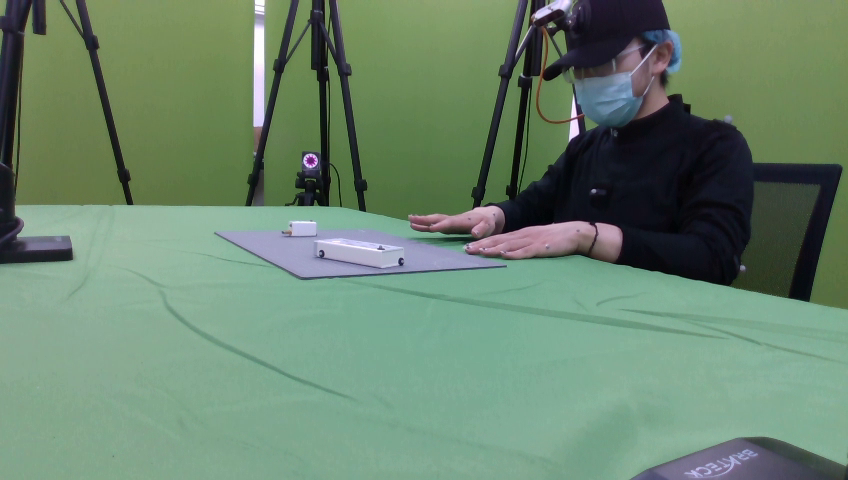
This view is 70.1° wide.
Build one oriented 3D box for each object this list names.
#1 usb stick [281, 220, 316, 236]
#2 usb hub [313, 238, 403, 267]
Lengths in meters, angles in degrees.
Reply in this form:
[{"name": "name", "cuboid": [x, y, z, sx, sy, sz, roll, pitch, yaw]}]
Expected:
[{"name": "usb stick", "cuboid": [-0.220, -0.020, 1.054, 0.059, 0.027, 0.021, -5, 12, -32]}, {"name": "usb hub", "cuboid": [-0.091, 0.016, 0.818, 0.124, 0.025, 0.050, 7, 9, 36]}]
